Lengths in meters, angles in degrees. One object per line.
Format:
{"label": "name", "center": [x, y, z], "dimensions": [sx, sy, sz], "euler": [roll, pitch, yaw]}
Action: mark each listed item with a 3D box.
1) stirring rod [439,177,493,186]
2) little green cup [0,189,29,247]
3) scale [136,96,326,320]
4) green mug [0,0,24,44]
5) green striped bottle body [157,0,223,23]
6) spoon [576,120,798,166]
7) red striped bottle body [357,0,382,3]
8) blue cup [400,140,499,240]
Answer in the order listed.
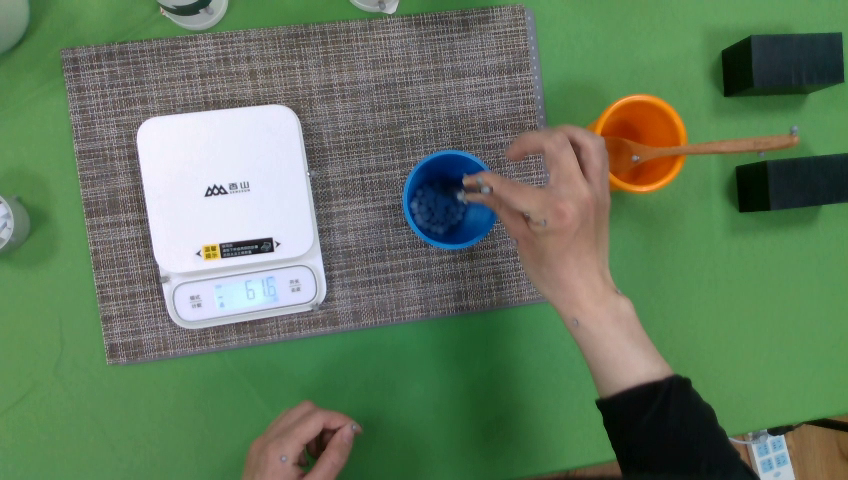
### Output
{"label": "stirring rod", "center": [0.032, -0.050, 0.512], "dimensions": [0.014, 0.175, 0.006], "euler": [-12, 98, -6]}
{"label": "little green cup", "center": [-0.395, -0.020, 0.549], "dimensions": [0.062, 0.038, 0.061], "euler": [0, 92, -8]}
{"label": "scale", "center": [-0.180, -0.029, 0.574], "dimensions": [0.149, 0.031, 0.201], "euler": [-9, 93, -6]}
{"label": "green mug", "center": [-0.414, -0.200, 0.507], "dimensions": [0.093, 0.105, 0.125], "euler": [27, 89, -7]}
{"label": "green striped bottle body", "center": [-0.216, -0.237, 0.522], "dimensions": [0.063, 0.119, 0.063], "euler": [0, 91, -7]}
{"label": "spoon", "center": [0.237, -0.094, 0.567], "dimensions": [0.022, 0.192, 0.042], "euler": [-14, 102, -50]}
{"label": "red striped bottle body", "center": [-0.048, -0.263, 0.541], "dimensions": [0.063, 0.119, 0.063], "euler": [0, 91, -7]}
{"label": "blue cup", "center": [0.016, -0.043, 0.562], "dimensions": [0.093, 0.100, 0.092], "euler": [0, 92, -8]}
